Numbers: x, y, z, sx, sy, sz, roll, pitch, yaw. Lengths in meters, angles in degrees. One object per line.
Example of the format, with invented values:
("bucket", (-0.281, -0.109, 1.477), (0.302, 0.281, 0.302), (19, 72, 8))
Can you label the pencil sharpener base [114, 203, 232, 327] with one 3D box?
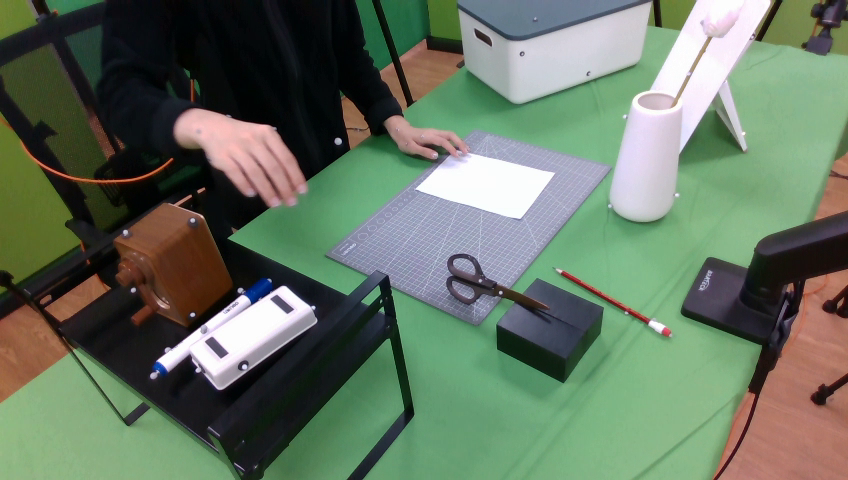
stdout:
("pencil sharpener base", (-0.262, 0.029, 0.636), (0.061, 0.107, 0.077), (18, 47, 27))

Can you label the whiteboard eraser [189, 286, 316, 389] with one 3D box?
("whiteboard eraser", (-0.166, 0.096, 0.593), (0.113, 0.042, 0.055), (-36, 46, -29))

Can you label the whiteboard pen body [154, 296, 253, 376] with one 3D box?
("whiteboard pen body", (-0.214, 0.088, 0.619), (0.017, 0.017, 0.141), (20, 43, 28))

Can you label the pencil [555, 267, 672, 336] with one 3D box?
("pencil", (0.260, 0.082, 0.850), (0.012, 0.012, 0.192), (-33, 46, -27))

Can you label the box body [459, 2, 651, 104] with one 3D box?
("box body", (0.291, -0.465, 1.371), (0.365, 0.161, 0.252), (-22, 42, -16))

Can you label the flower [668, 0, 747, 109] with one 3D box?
("flower", (0.354, -0.187, 0.879), (0.038, 0.362, 0.044), (31, 48, 15))

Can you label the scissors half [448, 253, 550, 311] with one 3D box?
("scissors half", (0.098, 0.058, 0.821), (0.173, 0.040, 0.013), (27, 34, 37))

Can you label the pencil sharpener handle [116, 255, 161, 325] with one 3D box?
("pencil sharpener handle", (-0.286, 0.050, 0.594), (0.035, 0.068, 0.031), (6, 41, 36))

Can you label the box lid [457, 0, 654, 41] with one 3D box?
("box lid", (0.285, -0.522, 1.323), (0.373, 0.015, 0.261), (-22, 43, -16))

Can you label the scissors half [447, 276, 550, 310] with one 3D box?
("scissors half", (0.098, 0.077, 0.827), (0.174, 0.040, 0.013), (6, 15, 45))

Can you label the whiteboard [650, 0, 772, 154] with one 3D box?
("whiteboard", (0.543, -0.298, 1.076), (0.144, 0.305, 0.216), (12, 40, -7))

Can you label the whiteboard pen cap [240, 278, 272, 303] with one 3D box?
("whiteboard pen cap", (-0.184, 0.057, 0.658), (0.018, 0.018, 0.033), (19, 44, 28))

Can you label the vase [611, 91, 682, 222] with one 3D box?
("vase", (0.348, -0.125, 0.935), (0.098, 0.201, 0.097), (-3, 40, 3))
